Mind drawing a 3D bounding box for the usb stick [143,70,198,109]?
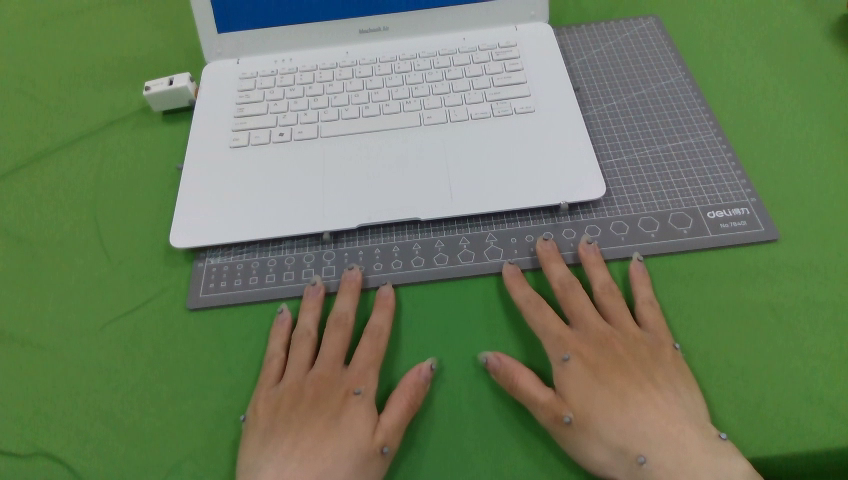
[{"bbox_3d":[-0.237,-0.146,0.586,0.059,0.027,0.021,-9,52,0],"label":"usb stick"}]

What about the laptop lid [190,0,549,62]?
[{"bbox_3d":[-0.061,-0.303,0.573,0.357,0.243,0.013,-8,24,1],"label":"laptop lid"}]

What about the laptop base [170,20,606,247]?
[{"bbox_3d":[-0.038,-0.104,0.551,0.354,0.023,0.233,-7,56,0],"label":"laptop base"}]
